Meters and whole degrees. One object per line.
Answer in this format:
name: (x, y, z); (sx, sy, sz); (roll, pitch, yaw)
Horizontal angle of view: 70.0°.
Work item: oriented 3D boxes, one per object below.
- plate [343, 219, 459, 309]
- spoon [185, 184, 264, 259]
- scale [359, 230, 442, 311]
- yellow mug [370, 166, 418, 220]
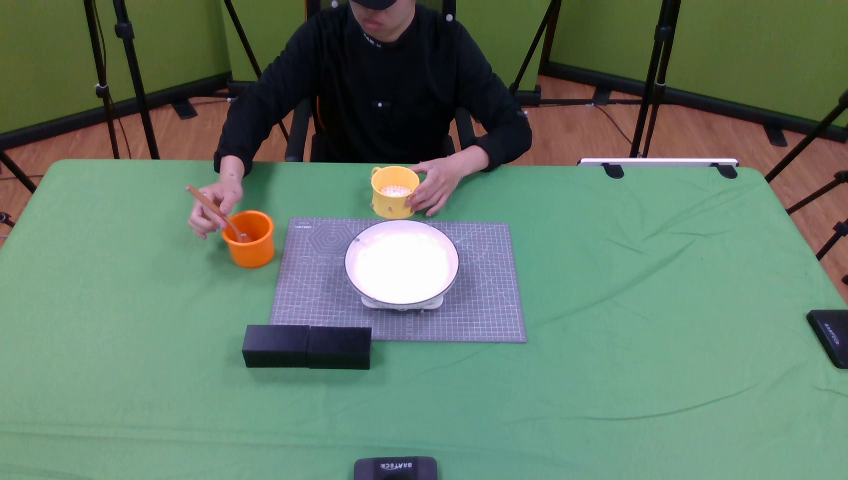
plate: (-0.041, 0.046, 1.094); (0.209, 0.038, 0.208); (2, 46, -2)
spoon: (-0.357, -0.033, 1.094); (0.021, 0.195, 0.041); (-20, 37, 20)
scale: (-0.043, 0.048, 1.138); (0.149, 0.032, 0.199); (2, 46, -3)
yellow mug: (-0.072, -0.107, 1.267); (0.100, 0.064, 0.130); (-29, 53, -30)
